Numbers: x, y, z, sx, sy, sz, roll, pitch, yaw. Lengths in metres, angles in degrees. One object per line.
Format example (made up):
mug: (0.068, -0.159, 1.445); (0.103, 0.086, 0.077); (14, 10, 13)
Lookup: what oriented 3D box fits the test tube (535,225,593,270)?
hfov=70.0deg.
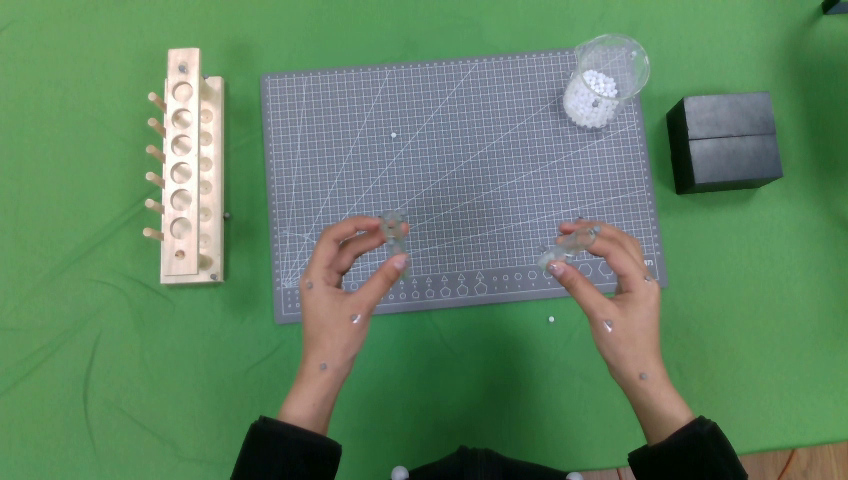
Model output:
test tube: (0.115, 0.009, 0.510); (0.017, 0.151, 0.017); (0, 80, -1)

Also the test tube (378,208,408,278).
test tube: (-0.026, 0.007, 0.528); (0.017, 0.151, 0.017); (0, 71, 2)

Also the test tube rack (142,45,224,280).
test tube rack: (-0.268, -0.081, 0.666); (0.067, 0.085, 0.241); (-2, 82, -1)

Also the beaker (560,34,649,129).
beaker: (0.194, -0.174, 0.679); (0.084, 0.100, 0.074); (32, 82, 6)
